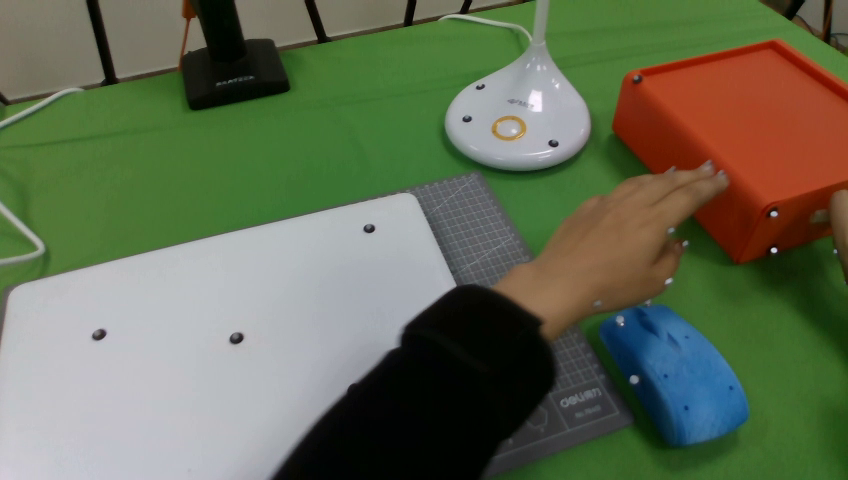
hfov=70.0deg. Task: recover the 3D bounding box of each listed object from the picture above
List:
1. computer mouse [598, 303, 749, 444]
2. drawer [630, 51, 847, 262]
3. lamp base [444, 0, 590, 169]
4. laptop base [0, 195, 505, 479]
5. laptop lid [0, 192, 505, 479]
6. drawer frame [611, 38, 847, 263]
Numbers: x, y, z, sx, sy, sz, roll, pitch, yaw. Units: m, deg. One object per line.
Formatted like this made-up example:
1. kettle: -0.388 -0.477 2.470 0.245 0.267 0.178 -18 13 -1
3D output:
1. computer mouse: 0.182 0.092 0.449 0.063 0.041 0.116 -15 44 -9
2. drawer: 0.330 -0.094 0.589 0.195 0.074 0.209 -16 48 -12
3. lamp base: 0.103 -0.194 0.621 0.160 0.182 0.178 10 46 11
4. laptop base: -0.141 0.084 0.478 0.355 0.023 0.233 -14 51 -12
5. laptop lid: -0.141 0.078 0.467 0.357 0.013 0.239 -13 50 -11
6. drawer frame: 0.328 -0.096 0.590 0.202 0.083 0.211 -16 48 -12
